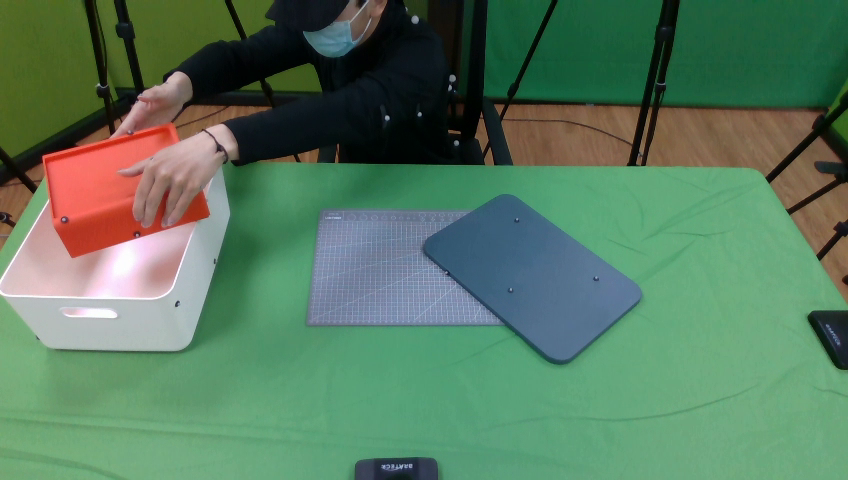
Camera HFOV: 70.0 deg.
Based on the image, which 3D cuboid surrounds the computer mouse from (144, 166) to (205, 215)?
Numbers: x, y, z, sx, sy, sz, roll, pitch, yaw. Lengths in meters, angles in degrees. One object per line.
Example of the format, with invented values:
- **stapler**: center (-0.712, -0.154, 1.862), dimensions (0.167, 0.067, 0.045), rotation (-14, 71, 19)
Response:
- **computer mouse**: center (-0.423, -0.090, 1.020), dimensions (0.063, 0.041, 0.116), rotation (-35, 51, -27)

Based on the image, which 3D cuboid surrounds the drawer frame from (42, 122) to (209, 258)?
- **drawer frame**: center (-0.485, -0.089, 0.990), dimensions (0.214, 0.083, 0.200), rotation (-21, 49, -20)

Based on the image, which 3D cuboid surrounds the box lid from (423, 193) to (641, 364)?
- **box lid**: center (0.202, 0.054, 1.168), dimensions (0.263, 0.015, 0.369), rotation (-31, 56, -30)

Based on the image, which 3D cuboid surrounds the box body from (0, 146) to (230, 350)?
- **box body**: center (-0.502, 0.007, 1.055), dimensions (0.254, 0.161, 0.361), rotation (1, 46, -3)

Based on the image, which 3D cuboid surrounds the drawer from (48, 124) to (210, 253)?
- **drawer**: center (-0.482, -0.090, 0.993), dimensions (0.212, 0.073, 0.193), rotation (-21, 49, -20)
